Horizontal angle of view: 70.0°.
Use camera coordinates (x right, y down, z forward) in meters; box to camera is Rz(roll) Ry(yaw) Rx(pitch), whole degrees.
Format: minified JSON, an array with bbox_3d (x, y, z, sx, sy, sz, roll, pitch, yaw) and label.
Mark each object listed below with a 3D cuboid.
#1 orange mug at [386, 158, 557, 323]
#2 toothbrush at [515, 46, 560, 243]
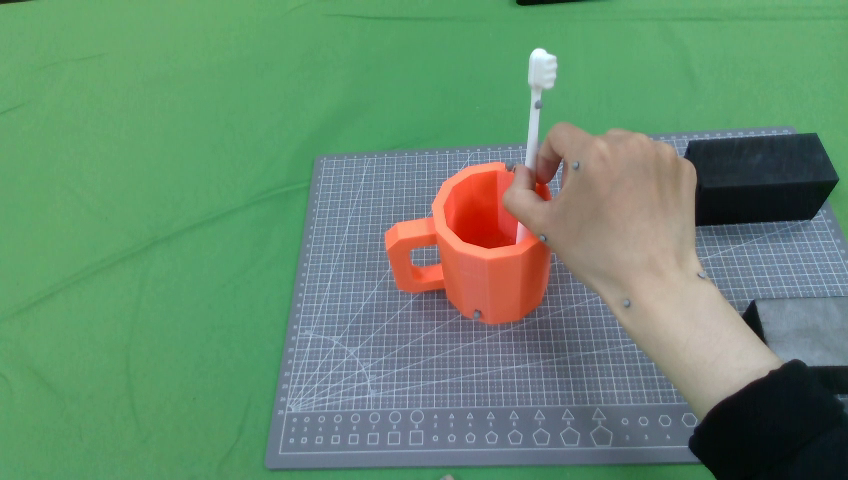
[{"bbox_3d":[0.036,0.005,0.457,0.126,0.102,0.082,-8,55,-3],"label":"orange mug"},{"bbox_3d":[0.074,-0.038,0.416,0.016,0.183,0.014,22,34,32],"label":"toothbrush"}]
